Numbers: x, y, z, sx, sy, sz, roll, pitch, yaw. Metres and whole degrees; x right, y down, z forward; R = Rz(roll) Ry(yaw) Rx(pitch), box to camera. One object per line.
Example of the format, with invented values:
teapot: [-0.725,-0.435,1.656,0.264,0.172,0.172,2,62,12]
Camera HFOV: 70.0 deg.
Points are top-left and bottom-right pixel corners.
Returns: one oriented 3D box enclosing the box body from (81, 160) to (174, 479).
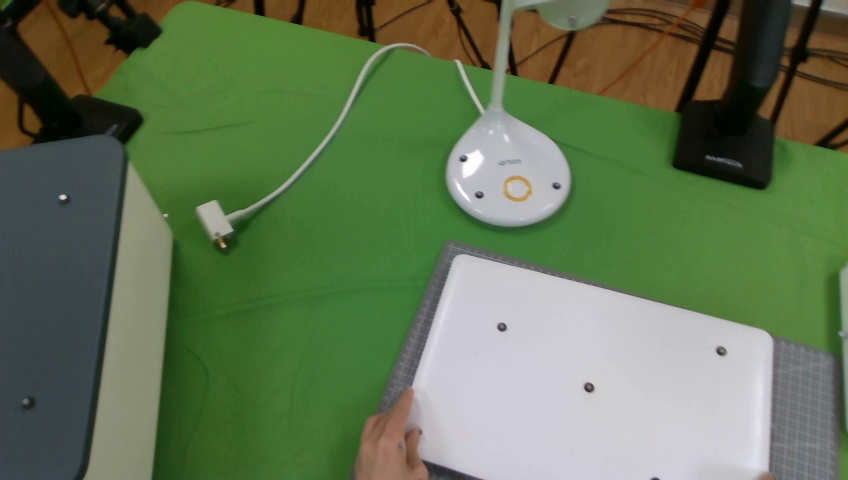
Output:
box body: [-0.408,0.097,0.601,0.254,0.162,0.360,-7,59,-3]

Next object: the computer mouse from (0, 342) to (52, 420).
computer mouse: [-0.434,0.144,0.631,0.063,0.041,0.116,-34,23,-7]

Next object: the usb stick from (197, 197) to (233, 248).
usb stick: [-0.253,-0.020,0.742,0.027,0.021,0.059,-25,91,-30]

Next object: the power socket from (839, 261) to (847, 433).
power socket: [0.485,0.115,0.641,0.072,0.033,0.225,15,60,9]

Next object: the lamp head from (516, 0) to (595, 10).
lamp head: [0.118,-0.240,0.454,0.112,0.112,0.123,-10,102,-4]

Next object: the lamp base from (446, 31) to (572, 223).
lamp base: [0.102,-0.139,0.720,0.161,0.182,0.177,-17,57,-9]

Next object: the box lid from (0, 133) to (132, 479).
box lid: [-0.410,0.056,0.539,0.263,0.015,0.368,-8,60,-3]

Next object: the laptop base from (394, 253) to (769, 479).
laptop base: [0.169,0.155,0.634,0.353,0.023,0.234,14,63,10]

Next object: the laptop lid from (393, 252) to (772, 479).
laptop lid: [0.167,0.150,0.622,0.355,0.013,0.240,16,63,11]
